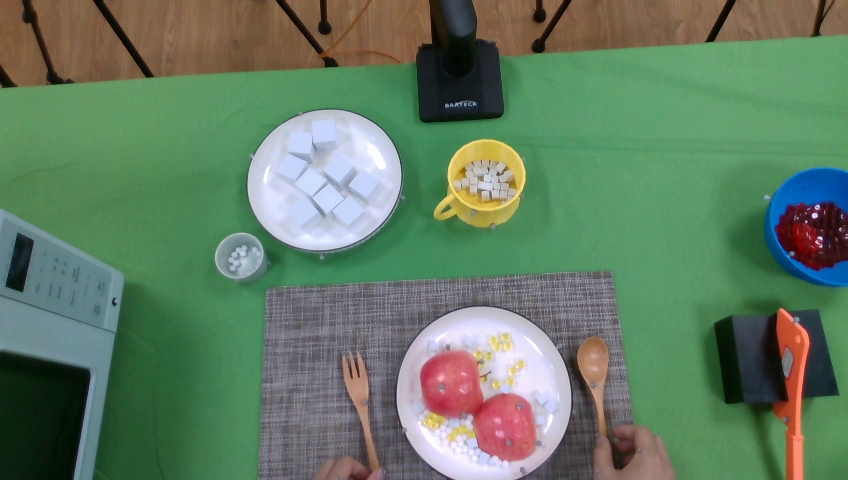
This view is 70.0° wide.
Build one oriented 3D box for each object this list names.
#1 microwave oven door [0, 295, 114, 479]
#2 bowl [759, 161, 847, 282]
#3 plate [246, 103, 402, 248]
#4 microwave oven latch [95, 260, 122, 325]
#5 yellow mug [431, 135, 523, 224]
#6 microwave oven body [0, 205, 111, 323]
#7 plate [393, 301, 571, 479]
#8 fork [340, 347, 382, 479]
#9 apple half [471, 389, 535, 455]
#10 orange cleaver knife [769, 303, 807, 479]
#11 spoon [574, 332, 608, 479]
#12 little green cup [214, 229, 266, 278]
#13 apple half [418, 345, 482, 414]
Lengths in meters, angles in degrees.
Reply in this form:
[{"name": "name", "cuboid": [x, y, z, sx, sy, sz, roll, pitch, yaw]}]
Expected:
[{"name": "microwave oven door", "cuboid": [-0.410, 0.244, 0.598, 0.039, 0.245, 0.353, 0, 73, 2]}, {"name": "bowl", "cuboid": [0.483, -0.013, 0.753, 0.151, 0.077, 0.150, -1, 73, 2]}, {"name": "plate", "cuboid": [-0.131, -0.085, 0.816, 0.207, 0.039, 0.206, 0, 73, 2]}, {"name": "microwave oven latch", "cuboid": [-0.401, 0.065, 0.759, 0.030, 0.029, 0.078, 2, 74, 2]}, {"name": "yellow mug", "cuboid": [0.064, -0.070, 0.790, 0.131, 0.064, 0.099, -33, 74, -8]}, {"name": "microwave oven body", "cuboid": [-0.555, 0.204, 0.619, 0.326, 0.261, 0.439, 0, 73, 1]}, {"name": "plate", "cuboid": [0.067, 0.178, 0.725, 0.209, 0.038, 0.208, 0, 74, 2]}, {"name": "fork", "cuboid": [-0.069, 0.230, 0.722, 0.028, 0.018, 0.206, -7, 71, -25]}, {"name": "apple half", "cuboid": [0.093, 0.212, 0.707, 0.081, 0.033, 0.081, -1, 71, 3]}, {"name": "orange cleaver knife", "cuboid": [0.414, 0.180, 0.693, 0.012, 0.077, 0.211, -2, 96, 6]}, {"name": "spoon", "cuboid": [0.205, 0.207, 0.719, 0.042, 0.021, 0.192, 4, 71, -17]}, {"name": "little green cup", "cuboid": [-0.236, 0.021, 0.785, 0.061, 0.039, 0.061, 0, 74, 2]}, {"name": "apple half", "cuboid": [0.029, 0.163, 0.714, 0.074, 0.053, 0.080, -5, 73, 3]}]
